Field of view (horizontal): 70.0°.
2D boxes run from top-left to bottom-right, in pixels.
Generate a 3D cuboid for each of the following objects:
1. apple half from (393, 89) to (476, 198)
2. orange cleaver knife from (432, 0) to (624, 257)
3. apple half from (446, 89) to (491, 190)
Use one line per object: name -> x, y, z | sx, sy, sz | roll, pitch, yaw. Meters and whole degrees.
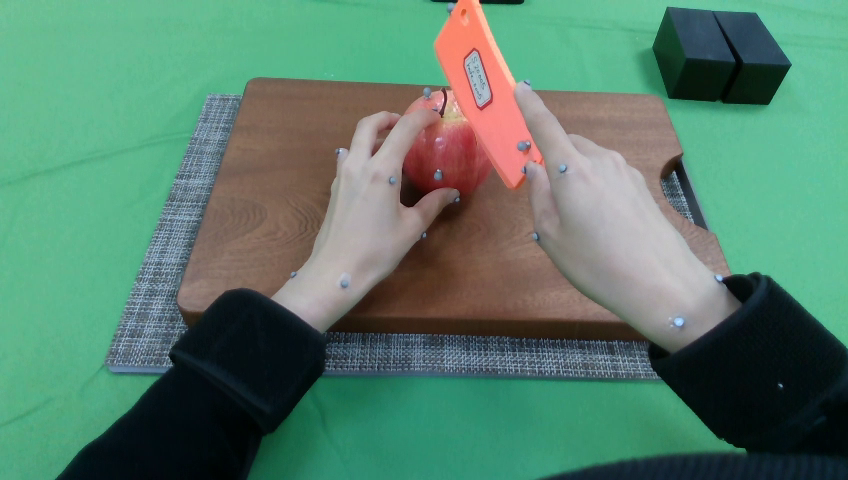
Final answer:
apple half -> 0.003, -0.072, 0.473 | 0.053, 0.075, 0.080 | -15, 56, -12
orange cleaver knife -> 0.057, -0.070, 0.393 | 0.012, 0.077, 0.209 | -18, 66, -23
apple half -> 0.040, -0.081, 0.482 | 0.033, 0.082, 0.080 | -14, 52, -11
